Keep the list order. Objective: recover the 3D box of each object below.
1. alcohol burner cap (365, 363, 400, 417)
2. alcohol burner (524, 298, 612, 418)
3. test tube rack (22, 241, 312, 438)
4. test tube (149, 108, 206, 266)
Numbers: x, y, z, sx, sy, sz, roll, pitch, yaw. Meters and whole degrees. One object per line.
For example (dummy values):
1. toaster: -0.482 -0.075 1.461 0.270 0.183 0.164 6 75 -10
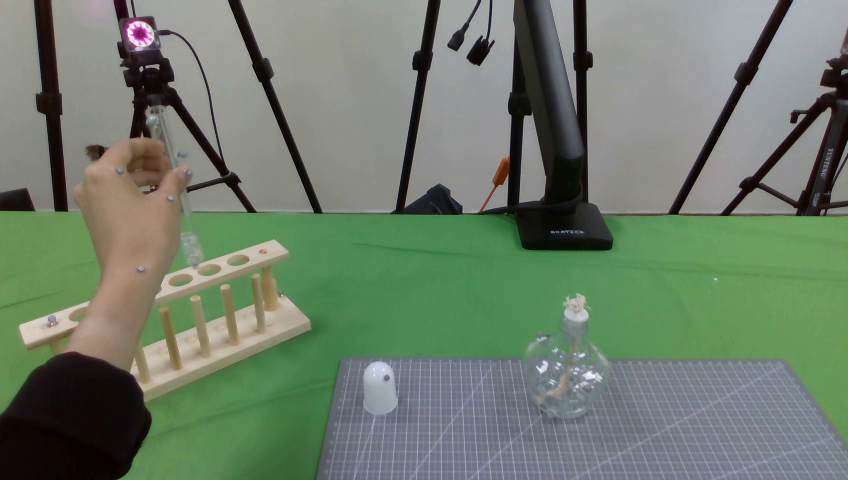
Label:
1. alcohol burner cap: -0.039 0.133 0.551 0.034 0.048 0.033 0 31 0
2. alcohol burner: 0.129 0.099 0.537 0.078 0.120 0.077 1 32 0
3. test tube rack: -0.236 0.087 0.593 0.243 0.086 0.066 -22 36 -32
4. test tube: -0.199 -0.037 0.496 0.017 0.151 0.017 2 39 -1
